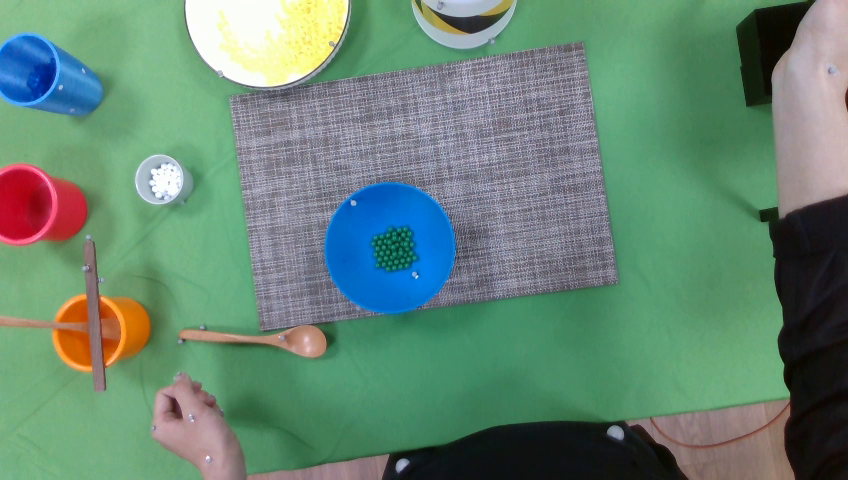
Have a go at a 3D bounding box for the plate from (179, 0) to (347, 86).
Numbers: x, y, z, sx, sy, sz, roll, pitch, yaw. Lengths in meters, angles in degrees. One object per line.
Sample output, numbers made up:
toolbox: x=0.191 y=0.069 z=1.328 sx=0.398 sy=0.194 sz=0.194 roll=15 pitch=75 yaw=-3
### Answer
plate: x=-0.197 y=-0.293 z=0.756 sx=0.209 sy=0.038 sz=0.209 roll=0 pitch=90 yaw=3

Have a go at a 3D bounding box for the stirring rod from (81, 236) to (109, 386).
stirring rod: x=-0.382 y=0.082 z=0.703 sx=0.014 sy=0.006 sz=0.176 roll=-7 pitch=89 yaw=5

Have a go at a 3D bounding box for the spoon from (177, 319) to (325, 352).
spoon: x=-0.218 y=0.116 z=0.759 sx=0.194 sy=0.021 sz=0.042 roll=3 pitch=103 yaw=3

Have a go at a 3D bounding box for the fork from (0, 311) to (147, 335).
fork: x=-0.435 y=0.093 z=0.708 sx=0.209 sy=0.018 sz=0.028 roll=12 pitch=92 yaw=-40

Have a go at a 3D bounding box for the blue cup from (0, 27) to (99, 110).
blue cup: x=-0.454 y=-0.199 z=0.737 sx=0.092 sy=0.100 sz=0.092 roll=0 pitch=90 yaw=5

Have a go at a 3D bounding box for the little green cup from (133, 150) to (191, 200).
little green cup: x=-0.326 y=-0.079 z=0.759 sx=0.061 sy=0.038 sz=0.061 roll=0 pitch=90 yaw=4

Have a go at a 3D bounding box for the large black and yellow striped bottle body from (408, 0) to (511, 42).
large black and yellow striped bottle body: x=0.039 y=-0.312 z=0.670 sx=0.131 sy=0.184 sz=0.130 roll=0 pitch=89 yaw=4

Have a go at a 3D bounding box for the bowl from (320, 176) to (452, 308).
bowl: x=-0.040 y=0.003 z=0.719 sx=0.151 sy=0.077 sz=0.151 roll=0 pitch=89 yaw=4
